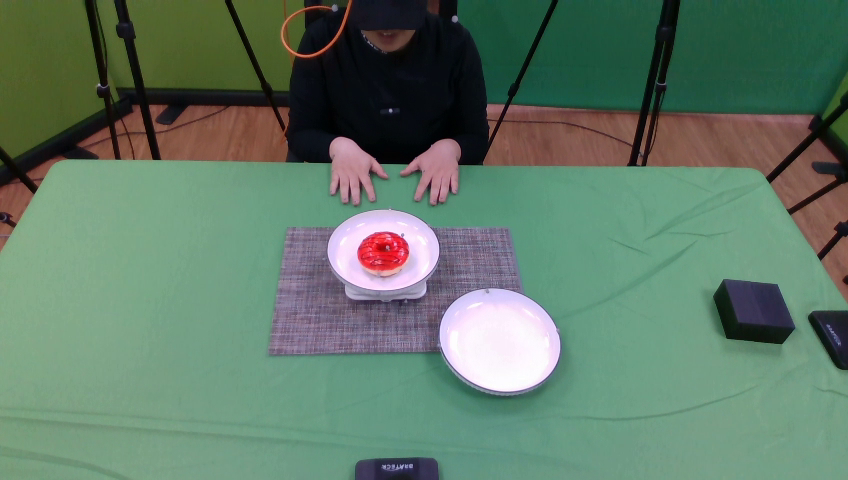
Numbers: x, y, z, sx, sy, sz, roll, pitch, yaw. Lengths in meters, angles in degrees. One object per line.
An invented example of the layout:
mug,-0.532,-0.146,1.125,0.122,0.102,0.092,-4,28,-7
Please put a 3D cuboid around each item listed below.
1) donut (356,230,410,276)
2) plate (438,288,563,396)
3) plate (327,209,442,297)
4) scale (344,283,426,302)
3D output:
donut,-0.073,0.022,1.097,0.099,0.048,0.098,0,45,0
plate,0.127,0.173,1.025,0.209,0.038,0.208,3,48,-3
plate,-0.072,0.027,1.110,0.208,0.039,0.206,2,46,-1
scale,-0.075,0.033,1.149,0.149,0.032,0.199,0,45,-5
